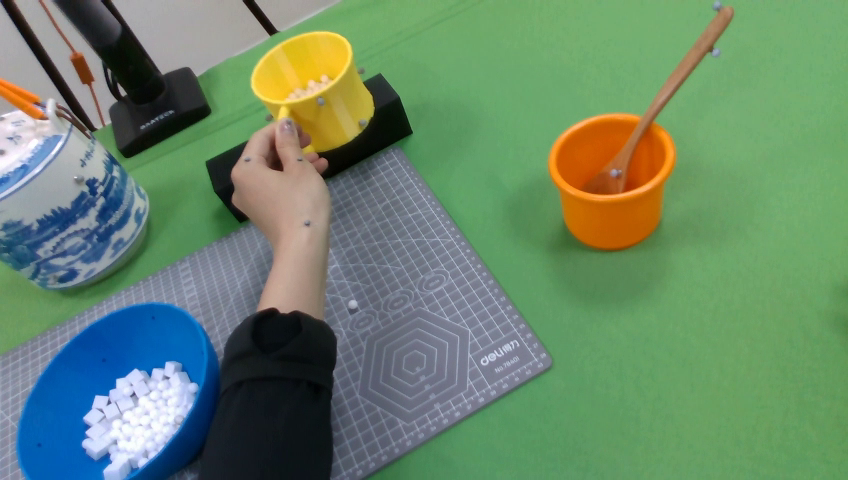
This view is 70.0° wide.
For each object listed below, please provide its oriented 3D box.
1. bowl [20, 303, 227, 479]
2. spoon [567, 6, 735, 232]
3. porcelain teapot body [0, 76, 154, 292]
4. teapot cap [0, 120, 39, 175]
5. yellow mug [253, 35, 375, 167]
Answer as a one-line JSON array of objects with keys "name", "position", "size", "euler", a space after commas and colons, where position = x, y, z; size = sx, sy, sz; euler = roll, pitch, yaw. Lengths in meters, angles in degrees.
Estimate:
[{"name": "bowl", "position": [-0.210, 0.132, 0.463], "size": [0.151, 0.077, 0.150], "euler": [-9, 51, 12]}, {"name": "spoon", "position": [0.170, -0.086, 0.462], "size": [0.022, 0.194, 0.041], "euler": [4, 36, -36]}, {"name": "porcelain teapot body", "position": [-0.404, -0.047, 0.575], "size": [0.205, 0.228, 0.143], "euler": [-25, 50, 0]}, {"name": "teapot cap", "position": [-0.389, -0.081, 0.545], "size": [0.085, 0.044, 0.084], "euler": [-10, 53, 14]}, {"name": "yellow mug", "position": [-0.108, -0.127, 0.576], "size": [0.099, 0.064, 0.130], "euler": [1, 57, 19]}]
